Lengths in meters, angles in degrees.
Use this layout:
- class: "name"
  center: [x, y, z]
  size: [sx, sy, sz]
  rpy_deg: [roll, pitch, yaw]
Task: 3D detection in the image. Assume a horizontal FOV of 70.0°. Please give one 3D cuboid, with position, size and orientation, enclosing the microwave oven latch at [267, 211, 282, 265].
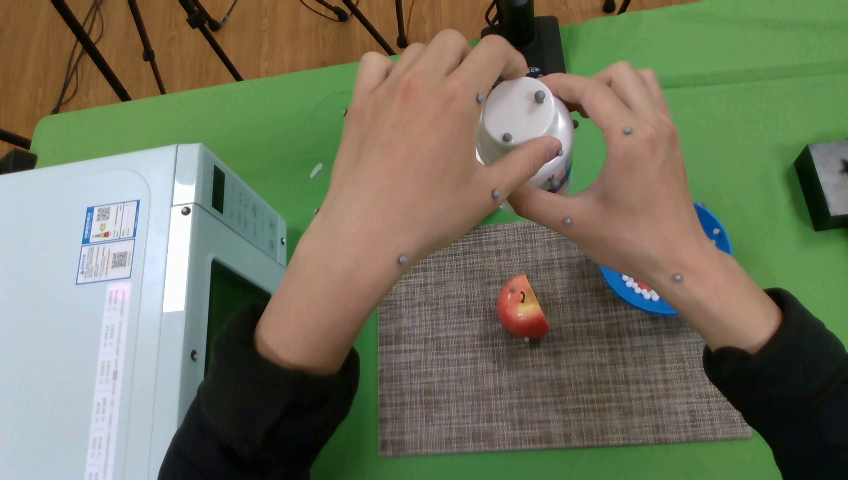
- class: "microwave oven latch"
  center: [-0.222, -0.003, 0.873]
  size: [0.030, 0.030, 0.078]
  rpy_deg: [-9, 70, 8]

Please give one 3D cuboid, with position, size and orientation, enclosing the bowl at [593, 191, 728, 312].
- class: "bowl"
  center: [0.285, 0.024, 0.752]
  size: [0.151, 0.077, 0.150]
  rpy_deg: [-4, 70, 11]

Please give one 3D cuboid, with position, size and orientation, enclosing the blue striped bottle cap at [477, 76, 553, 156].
- class: "blue striped bottle cap"
  center: [0.054, -0.074, 0.361]
  size: [0.044, 0.021, 0.044]
  rpy_deg: [-3, 79, 15]

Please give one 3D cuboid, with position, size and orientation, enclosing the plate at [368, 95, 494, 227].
- class: "plate"
  center: [0.024, -0.111, 0.882]
  size: [0.207, 0.039, 0.206]
  rpy_deg: [-4, 70, 10]

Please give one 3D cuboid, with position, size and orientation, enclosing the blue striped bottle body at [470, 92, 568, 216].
- class: "blue striped bottle body"
  center: [0.067, -0.061, 0.415]
  size: [0.063, 0.121, 0.063]
  rpy_deg: [-3, 77, 13]

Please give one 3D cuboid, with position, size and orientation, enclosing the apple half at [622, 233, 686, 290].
- class: "apple half"
  center: [0.286, 0.023, 0.748]
  size: [0.081, 0.033, 0.080]
  rpy_deg: [-4, 68, 10]

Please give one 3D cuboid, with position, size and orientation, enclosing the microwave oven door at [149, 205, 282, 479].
- class: "microwave oven door"
  center: [-0.230, 0.166, 0.704]
  size: [0.039, 0.246, 0.353]
  rpy_deg: [-8, 69, 9]

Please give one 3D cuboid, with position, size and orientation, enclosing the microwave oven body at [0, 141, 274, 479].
- class: "microwave oven body"
  center: [-0.375, 0.148, 0.745]
  size: [0.326, 0.262, 0.438]
  rpy_deg: [-8, 70, 8]

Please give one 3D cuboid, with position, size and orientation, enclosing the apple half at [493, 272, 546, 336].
- class: "apple half"
  center: [0.116, 0.087, 0.768]
  size: [0.053, 0.075, 0.080]
  rpy_deg: [-26, 71, 6]
